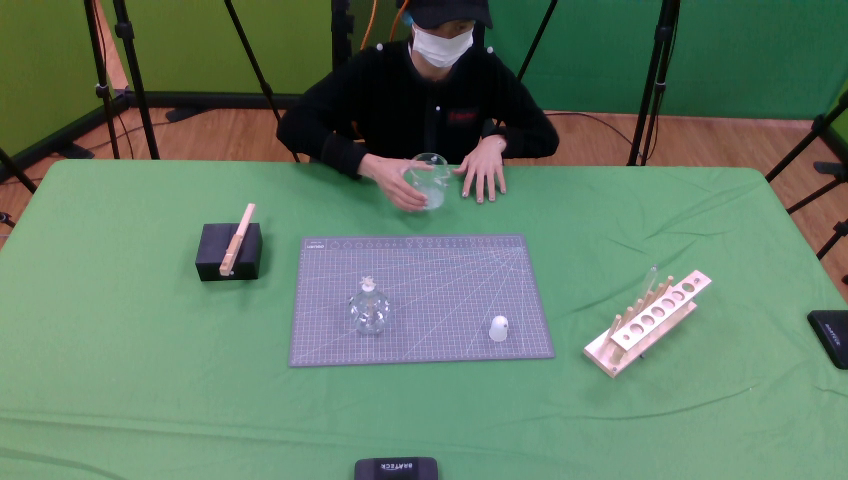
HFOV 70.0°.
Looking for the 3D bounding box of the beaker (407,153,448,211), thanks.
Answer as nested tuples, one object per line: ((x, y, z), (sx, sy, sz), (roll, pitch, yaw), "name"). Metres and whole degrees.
((0.008, -0.112, 1.207), (0.084, 0.101, 0.074), (21, 56, 14), "beaker")

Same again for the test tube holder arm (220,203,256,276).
((-0.340, -0.005, 1.112), (0.015, 0.013, 0.177), (5, 46, 2), "test tube holder arm")

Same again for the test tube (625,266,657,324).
((0.367, 0.097, 1.027), (0.017, 0.151, 0.017), (1, 46, -1), "test tube")

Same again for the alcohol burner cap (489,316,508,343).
((0.130, 0.151, 1.045), (0.034, 0.048, 0.033), (2, 46, -2), "alcohol burner cap")

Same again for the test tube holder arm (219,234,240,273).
((-0.344, 0.023, 1.076), (0.015, 0.010, 0.087), (5, 45, 2), "test tube holder arm")

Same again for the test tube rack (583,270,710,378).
((0.389, 0.133, 1.057), (0.242, 0.085, 0.066), (-29, 54, -28), "test tube rack")

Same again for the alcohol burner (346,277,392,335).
((-0.093, 0.106, 1.021), (0.078, 0.120, 0.077), (1, 46, -1), "alcohol burner")
